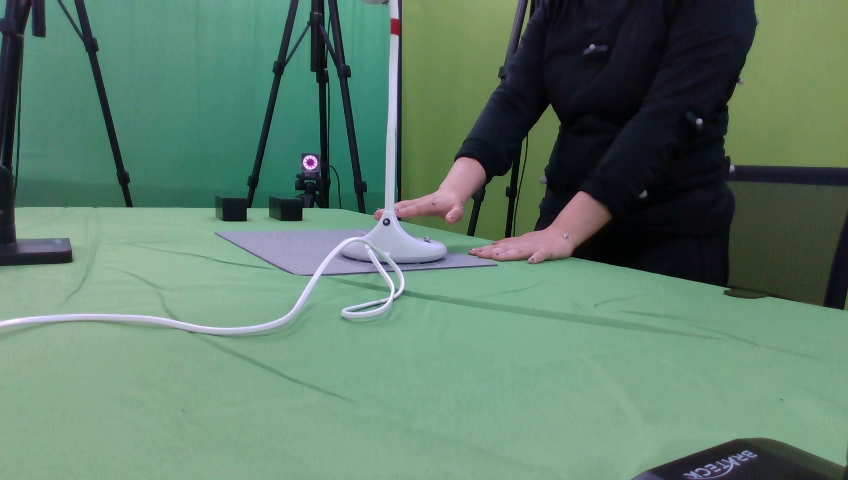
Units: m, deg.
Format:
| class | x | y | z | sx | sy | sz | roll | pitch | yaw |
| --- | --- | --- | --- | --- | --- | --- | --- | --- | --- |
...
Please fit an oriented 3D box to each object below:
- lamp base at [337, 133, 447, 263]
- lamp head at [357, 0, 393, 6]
| class | x | y | z | sx | sy | sz | roll | pitch | yaw |
| --- | --- | --- | --- | --- | --- | --- | --- | --- | --- |
| lamp base | -0.043 | -0.062 | 0.868 | 0.161 | 0.180 | 0.179 | 2 | 10 | -3 |
| lamp head | -0.056 | -0.383 | 0.819 | 0.113 | 0.112 | 0.122 | 0 | 12 | -22 |
